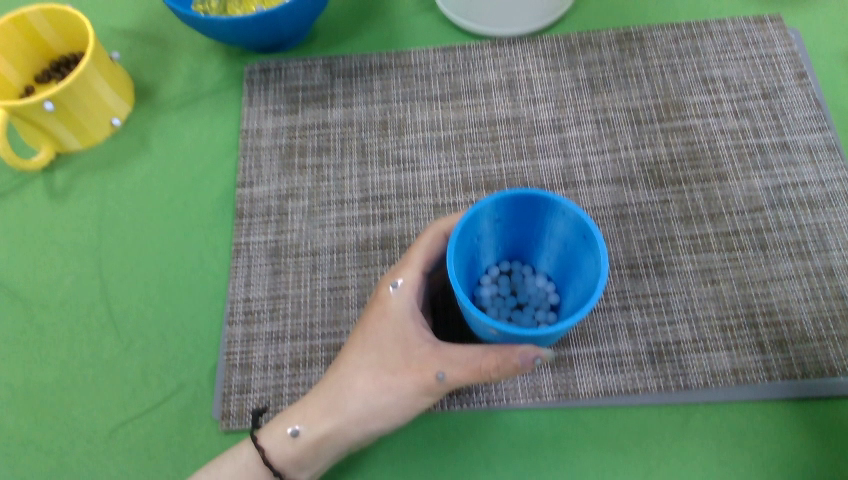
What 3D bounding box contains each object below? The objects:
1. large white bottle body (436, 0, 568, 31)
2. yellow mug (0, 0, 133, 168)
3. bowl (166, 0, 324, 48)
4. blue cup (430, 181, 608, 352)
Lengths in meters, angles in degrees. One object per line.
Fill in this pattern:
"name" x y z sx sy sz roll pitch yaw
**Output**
"large white bottle body" 0.062 -0.268 0.451 0.130 0.186 0.129 -1 66 3
"yellow mug" -0.297 -0.117 0.472 0.100 0.064 0.130 7 67 6
"bowl" -0.138 -0.215 0.499 0.151 0.077 0.150 -1 66 3
"blue cup" 0.057 0.026 0.362 0.092 0.101 0.092 -2 67 4
